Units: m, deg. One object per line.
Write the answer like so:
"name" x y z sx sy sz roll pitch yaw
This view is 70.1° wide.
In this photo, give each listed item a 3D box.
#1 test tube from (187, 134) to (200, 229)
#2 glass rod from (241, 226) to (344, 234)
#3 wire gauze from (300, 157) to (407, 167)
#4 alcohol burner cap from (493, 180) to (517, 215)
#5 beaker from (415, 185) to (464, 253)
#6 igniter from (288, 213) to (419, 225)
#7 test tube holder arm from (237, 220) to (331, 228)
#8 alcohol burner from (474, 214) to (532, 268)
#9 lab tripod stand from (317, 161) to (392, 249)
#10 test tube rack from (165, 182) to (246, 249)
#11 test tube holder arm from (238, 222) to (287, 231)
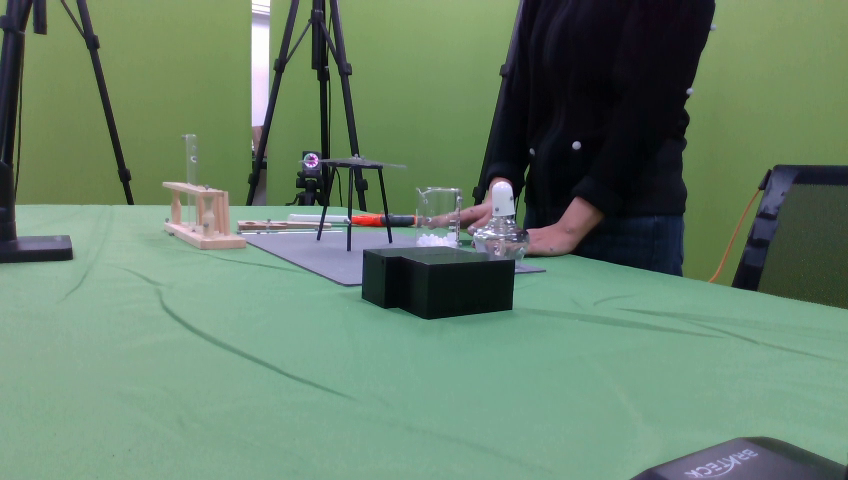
"test tube" -0.366 -0.092 0.959 0.017 0.150 0.017 0 3 0
"glass rod" -0.239 -0.019 1.119 0.201 0.008 0.008 -3 9 -34
"wire gauze" -0.112 -0.125 0.957 0.121 0.011 0.126 11 11 42
"alcohol burner cap" 0.107 -0.057 0.813 0.034 0.048 0.034 -6 11 2
"beaker" 0.021 -0.033 0.938 0.073 0.100 0.084 7 9 36
"igniter" -0.145 -0.044 1.278 0.278 0.025 0.057 -1 -2 -21
"test tube holder arm" -0.260 -0.029 1.141 0.179 0.015 0.013 -2 42 -33
"alcohol burner" 0.107 -0.022 0.819 0.078 0.119 0.078 1 9 0
"lab tripod stand" -0.111 -0.059 0.963 0.148 0.131 0.148 4 8 0
"test tube rack" -0.360 -0.045 0.982 0.067 0.085 0.241 -3 9 -34
"test tube holder arm" -0.296 -0.024 1.113 0.088 0.015 0.010 -2 42 -32
